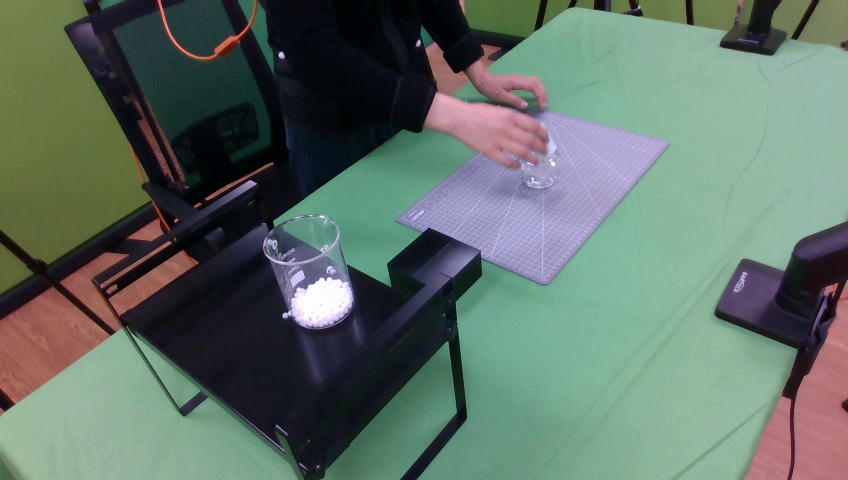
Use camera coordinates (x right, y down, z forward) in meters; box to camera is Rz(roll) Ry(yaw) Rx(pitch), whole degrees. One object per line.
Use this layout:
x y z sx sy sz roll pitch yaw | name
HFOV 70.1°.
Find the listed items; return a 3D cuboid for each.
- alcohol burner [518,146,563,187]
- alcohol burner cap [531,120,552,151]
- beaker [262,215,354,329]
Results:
0.201 -0.152 1.046 0.078 0.119 0.077 -5 42 5 | alcohol burner
0.183 -0.166 0.945 0.034 0.048 0.033 -8 43 8 | alcohol burner cap
-0.112 0.034 0.616 0.073 0.101 0.084 13 44 23 | beaker
